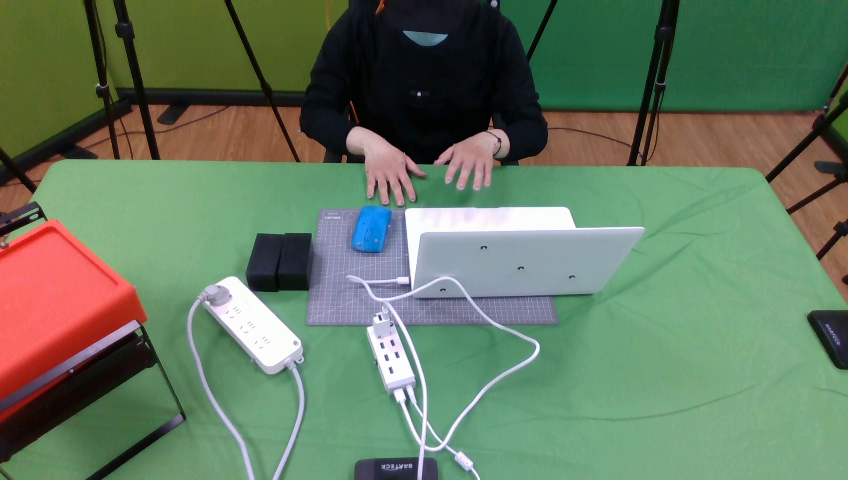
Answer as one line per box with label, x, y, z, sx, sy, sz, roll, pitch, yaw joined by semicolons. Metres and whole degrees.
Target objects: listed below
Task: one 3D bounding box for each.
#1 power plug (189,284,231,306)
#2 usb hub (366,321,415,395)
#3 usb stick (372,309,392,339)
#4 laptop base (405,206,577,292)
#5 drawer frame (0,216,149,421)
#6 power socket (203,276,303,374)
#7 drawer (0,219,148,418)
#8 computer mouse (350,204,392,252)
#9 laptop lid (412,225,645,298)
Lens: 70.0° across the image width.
power plug;-0.367;0.100;1.037;0.072;0.053;0.035;-24;54;-26
usb hub;-0.056;0.194;1.007;0.049;0.025;0.124;-12;49;-16
usb stick;-0.070;0.145;1.008;0.027;0.059;0.021;-15;40;-25
laptop base;0.143;0.018;1.196;0.355;0.023;0.234;-1;43;-6
drawer frame;-0.510;0.093;0.780;0.201;0.083;0.213;31;52;23
power socket;-0.296;0.141;1.034;0.072;0.033;0.225;-35;58;-30
drawer;-0.509;0.093;0.783;0.193;0.073;0.211;32;53;24
computer mouse;-0.104;-0.027;1.202;0.063;0.041;0.116;11;51;4
laptop lid;0.161;0.042;1.012;0.357;0.242;0.013;0;59;-7
